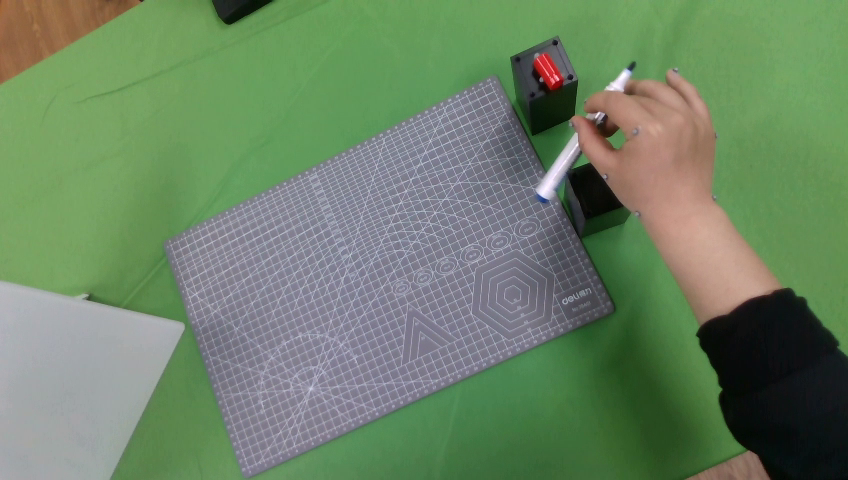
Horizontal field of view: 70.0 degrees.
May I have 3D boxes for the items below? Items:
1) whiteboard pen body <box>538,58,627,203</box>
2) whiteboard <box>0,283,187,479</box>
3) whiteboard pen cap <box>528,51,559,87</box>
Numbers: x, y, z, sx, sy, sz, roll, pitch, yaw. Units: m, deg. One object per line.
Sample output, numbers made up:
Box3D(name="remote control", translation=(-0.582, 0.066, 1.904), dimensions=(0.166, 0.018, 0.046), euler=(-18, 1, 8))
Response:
Box3D(name="whiteboard pen body", translation=(0.136, -0.091, 0.521), dimensions=(0.017, 0.017, 0.141), euler=(34, 122, 14))
Box3D(name="whiteboard", translation=(-0.453, 0.131, 0.630), dimensions=(0.142, 0.308, 0.217), euler=(24, 87, 34))
Box3D(name="whiteboard pen cap", translation=(0.114, -0.162, 0.575), dimensions=(0.017, 0.017, 0.032), euler=(-31, 78, 5))
